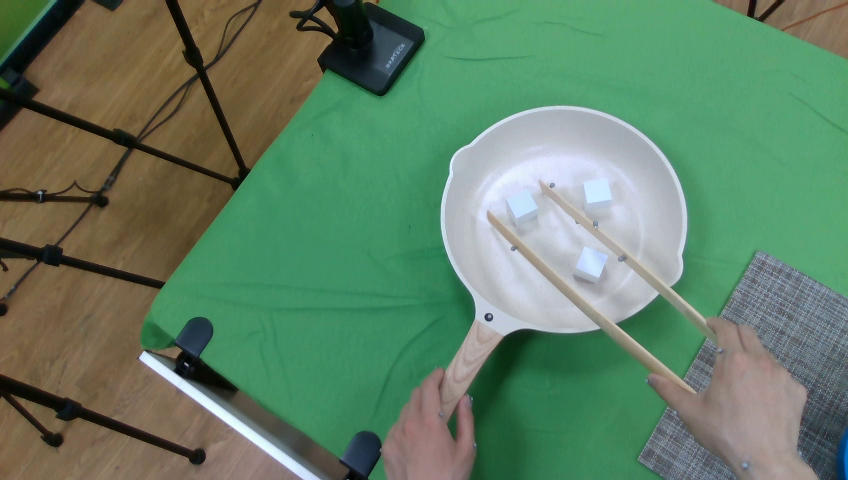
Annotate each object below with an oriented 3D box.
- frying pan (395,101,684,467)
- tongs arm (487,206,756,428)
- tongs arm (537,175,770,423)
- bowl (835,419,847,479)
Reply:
[{"bbox_3d":[0.108,0.050,0.725,0.305,0.103,0.486,31,70,15],"label":"frying pan"},{"bbox_3d":[0.181,0.062,0.655,0.028,0.028,0.383,-31,45,-14],"label":"tongs arm"},{"bbox_3d":[0.221,0.038,0.661,0.051,0.027,0.380,-31,45,-9],"label":"tongs arm"},{"bbox_3d":[0.500,0.236,0.633,0.151,0.077,0.150,-2,73,6],"label":"bowl"}]
